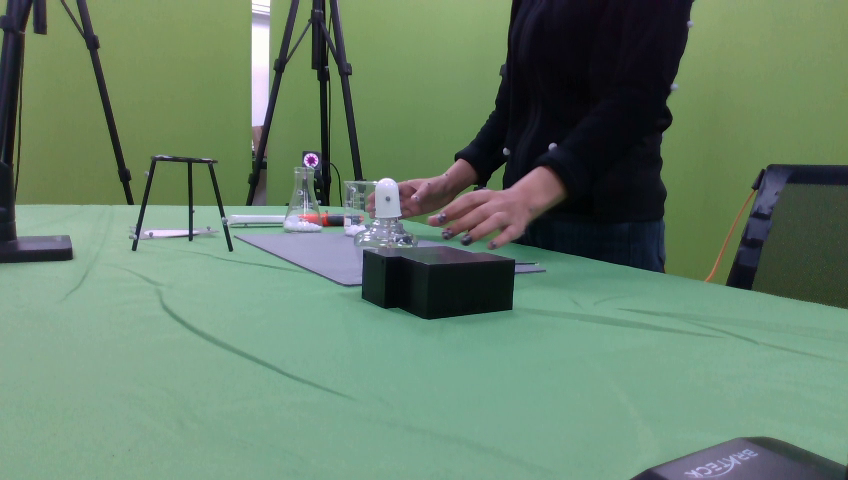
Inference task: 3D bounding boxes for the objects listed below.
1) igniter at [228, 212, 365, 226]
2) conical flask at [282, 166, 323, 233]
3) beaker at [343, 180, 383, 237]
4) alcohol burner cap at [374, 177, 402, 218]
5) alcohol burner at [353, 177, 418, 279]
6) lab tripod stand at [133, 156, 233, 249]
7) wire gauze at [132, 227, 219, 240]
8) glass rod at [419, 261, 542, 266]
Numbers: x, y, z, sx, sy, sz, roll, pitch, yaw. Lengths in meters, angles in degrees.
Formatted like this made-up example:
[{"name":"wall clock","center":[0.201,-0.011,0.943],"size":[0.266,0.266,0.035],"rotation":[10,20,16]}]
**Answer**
[{"name":"igniter","center":[-0.252,-0.042,1.227],"size":[0.278,0.025,0.057],"rotation":[-3,-2,-32]},{"name":"conical flask","center":[-0.225,-0.077,1.129],"size":[0.075,0.122,0.075],"rotation":[2,8,0]},{"name":"beaker","center":[-0.111,-0.058,1.090],"size":[0.083,0.100,0.074],"rotation":[7,8,34]},{"name":"alcohol burner cap","center":[-0.044,-0.049,0.704],"size":[0.034,0.048,0.034],"rotation":[-5,10,1]},{"name":"alcohol burner","center":[-0.044,-0.014,0.710],"size":[0.078,0.119,0.078],"rotation":[4,9,0]},{"name":"lab tripod stand","center":[-0.342,-0.054,0.878],"size":[0.148,0.131,0.148],"rotation":[4,6,0]},{"name":"wire gauze","center":[-0.421,-0.014,1.024],"size":[0.122,0.011,0.124],"rotation":[-2,7,-34]},{"name":"glass rod","center":[0.080,0.032,0.807],"size":[0.201,0.008,0.008],"rotation":[2,6,-31]}]
